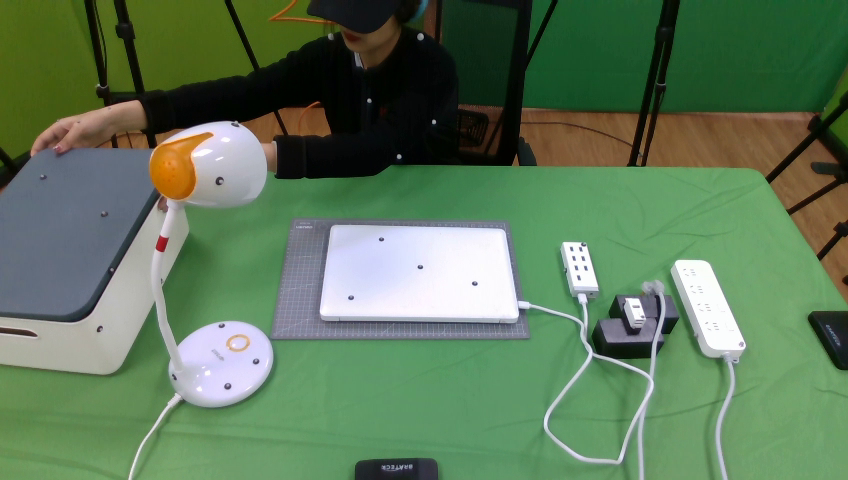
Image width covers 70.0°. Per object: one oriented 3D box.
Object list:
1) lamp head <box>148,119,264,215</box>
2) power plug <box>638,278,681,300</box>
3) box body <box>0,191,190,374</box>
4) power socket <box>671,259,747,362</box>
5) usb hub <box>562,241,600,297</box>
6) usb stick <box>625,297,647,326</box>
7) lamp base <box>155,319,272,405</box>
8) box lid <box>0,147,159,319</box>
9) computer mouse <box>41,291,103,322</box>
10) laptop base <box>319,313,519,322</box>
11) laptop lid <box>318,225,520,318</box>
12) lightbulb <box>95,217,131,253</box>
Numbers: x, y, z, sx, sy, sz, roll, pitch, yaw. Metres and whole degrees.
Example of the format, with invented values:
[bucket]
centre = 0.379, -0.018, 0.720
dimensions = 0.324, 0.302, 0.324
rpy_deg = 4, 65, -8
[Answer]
[lamp head]
centre = -0.276, -0.087, 0.740
dimensions = 0.112, 0.112, 0.123
rpy_deg = 20, 23, 15
[power plug]
centre = 0.434, 0.098, 1.119
dimensions = 0.073, 0.053, 0.035
rpy_deg = 32, 39, -17
[box body]
centre = -0.584, 0.033, 1.026
dimensions = 0.254, 0.161, 0.362
rpy_deg = 5, 46, 1
[power socket]
centre = 0.517, 0.119, 1.108
dimensions = 0.072, 0.033, 0.225
rpy_deg = 1, 46, -2
[usb hub]
centre = 0.300, 0.055, 1.162
dimensions = 0.049, 0.025, 0.124
rpy_deg = 2, 46, -3
[usb stick]
centre = 0.360, 0.116, 1.034
dimensions = 0.021, 0.027, 0.059
rpy_deg = -2, 44, -2
[lamp base]
centre = -0.330, 0.149, 0.918
dimensions = 0.160, 0.181, 0.179
rpy_deg = 26, 52, 20
[box lid]
centre = -0.580, -0.028, 0.961
dimensions = 0.263, 0.015, 0.369
rpy_deg = 2, 46, 5
[computer mouse]
centre = -0.593, 0.124, 1.016
dimensions = 0.063, 0.041, 0.116
rpy_deg = 3, 42, 3
[laptop base]
centre = -0.009, 0.062, 1.137
dimensions = 0.354, 0.023, 0.234
rpy_deg = 1, 42, -3
[laptop lid]
centre = -0.009, 0.052, 1.131
dimensions = 0.357, 0.013, 0.240
rpy_deg = 2, 43, -2
[lightbulb]
centre = -0.584, -0.015, 1.147
dimensions = 0.059, 0.060, 0.107
rpy_deg = -9, 28, -12
